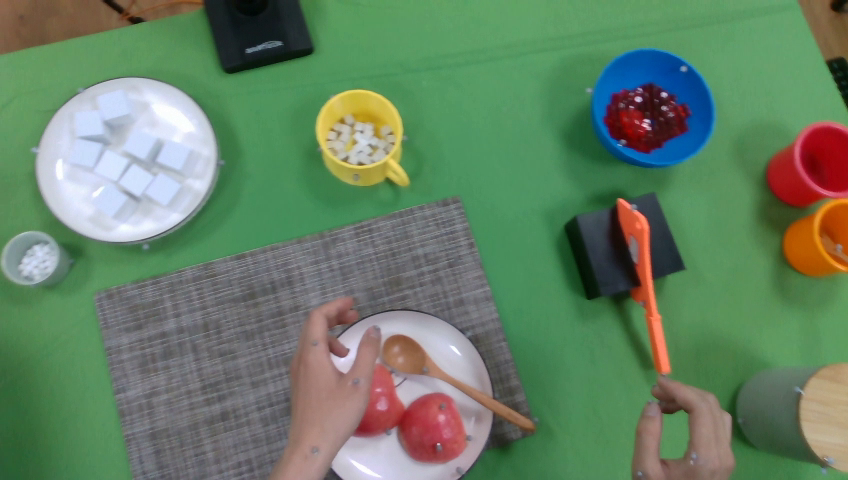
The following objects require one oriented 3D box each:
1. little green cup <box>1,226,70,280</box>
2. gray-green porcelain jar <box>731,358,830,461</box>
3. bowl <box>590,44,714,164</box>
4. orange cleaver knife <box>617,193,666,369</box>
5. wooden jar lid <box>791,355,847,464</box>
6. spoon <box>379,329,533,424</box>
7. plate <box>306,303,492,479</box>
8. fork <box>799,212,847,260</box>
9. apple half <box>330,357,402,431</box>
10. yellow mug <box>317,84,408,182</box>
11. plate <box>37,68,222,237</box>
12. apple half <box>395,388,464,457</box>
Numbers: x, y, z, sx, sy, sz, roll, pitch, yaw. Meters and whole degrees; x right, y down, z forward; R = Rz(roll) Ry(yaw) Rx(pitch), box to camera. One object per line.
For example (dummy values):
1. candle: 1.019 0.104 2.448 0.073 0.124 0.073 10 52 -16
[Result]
1. little green cup: -0.441 0.017 0.692 0.061 0.039 0.061 1 79 -6
2. gray-green porcelain jar: 0.422 0.187 0.683 0.106 0.127 0.105 1 78 -4
3. bowl: 0.274 -0.159 0.764 0.151 0.077 0.150 1 79 -4
4. orange cleaver knife: 0.256 0.049 0.719 0.012 0.077 0.212 -14 104 -3
5. wooden jar lid: 0.425 0.173 0.622 0.108 0.021 0.108 1 81 -5
6. spoon: 0.035 0.158 0.686 0.193 0.022 0.041 28 71 13
7. plate: -0.028 0.177 0.691 0.209 0.038 0.208 1 79 -4
8. fork: 0.501 0.030 0.708 0.028 0.019 0.205 2 35 -6
9. apple half: -0.066 0.173 0.674 0.075 0.053 0.080 -19 81 -5
10. yellow mug: -0.066 -0.119 0.736 0.130 0.064 0.100 45 78 4
11. plate: -0.346 -0.103 0.726 0.208 0.039 0.206 1 79 -4
12. apple half: 0.007 0.207 0.681 0.081 0.033 0.081 1 75 -3
